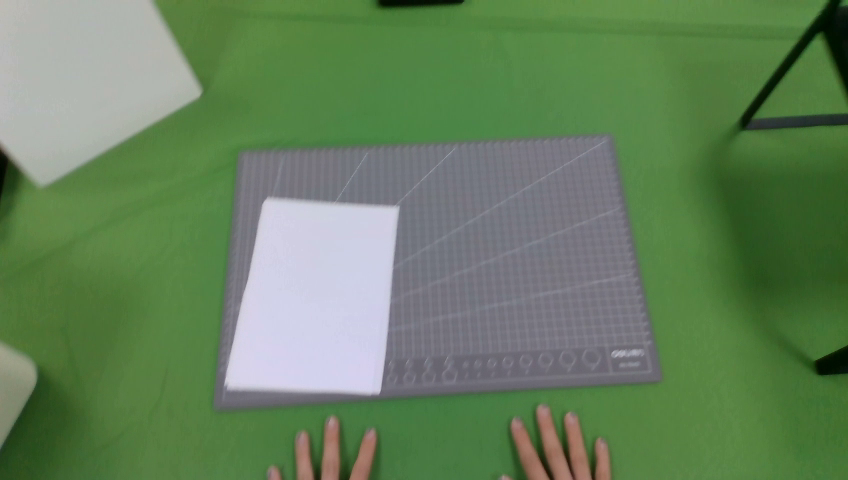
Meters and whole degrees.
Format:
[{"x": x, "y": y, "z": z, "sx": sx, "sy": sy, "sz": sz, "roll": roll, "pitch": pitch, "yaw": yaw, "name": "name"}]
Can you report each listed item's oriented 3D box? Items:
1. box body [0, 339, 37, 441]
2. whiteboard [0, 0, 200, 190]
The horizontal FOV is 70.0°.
[{"x": -0.581, "y": 0.147, "z": 0.524, "sx": 0.363, "sy": 0.161, "sz": 0.252, "roll": 16, "pitch": 67, "yaw": 7, "name": "box body"}, {"x": -0.435, "y": -0.252, "z": 0.661, "sx": 0.217, "sy": 0.309, "sz": 0.142, "roll": -35, "pitch": 50, "yaw": -14, "name": "whiteboard"}]
